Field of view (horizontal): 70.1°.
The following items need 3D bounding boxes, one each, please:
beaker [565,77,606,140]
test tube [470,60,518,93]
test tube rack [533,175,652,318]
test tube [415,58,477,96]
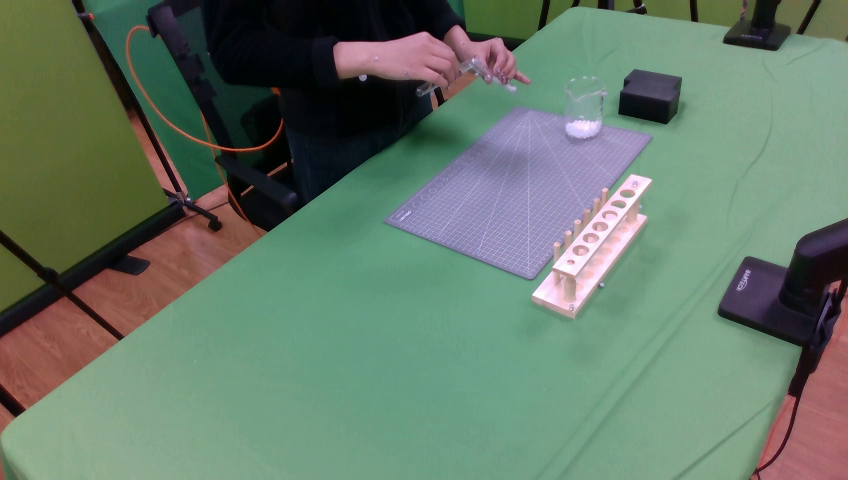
[{"bbox_3d":[0.304,-0.247,1.153,0.073,0.101,0.084,15,47,27],"label":"beaker"},{"bbox_3d":[0.128,-0.291,1.085,0.017,0.017,0.151,28,11,36],"label":"test tube"},{"bbox_3d":[0.250,-0.001,0.889,0.066,0.085,0.243,22,49,33],"label":"test tube rack"},{"bbox_3d":[0.037,-0.265,0.982,0.017,0.017,0.151,24,45,34],"label":"test tube"}]
